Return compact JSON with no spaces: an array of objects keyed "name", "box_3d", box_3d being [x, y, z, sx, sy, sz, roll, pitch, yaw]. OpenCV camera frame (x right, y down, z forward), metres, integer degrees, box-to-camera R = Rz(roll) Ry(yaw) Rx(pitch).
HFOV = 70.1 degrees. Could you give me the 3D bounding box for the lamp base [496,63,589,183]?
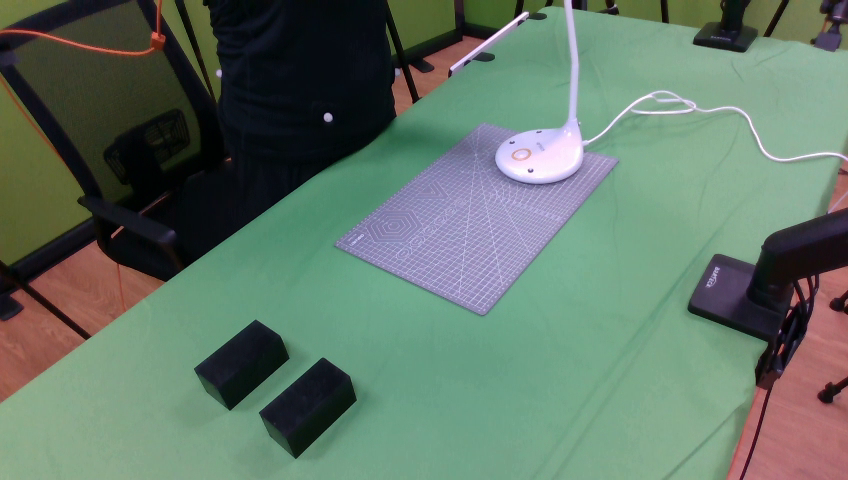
[{"name":"lamp base","box_3d":[0.216,-0.217,1.067,0.180,0.181,0.159,-19,42,-18]}]
